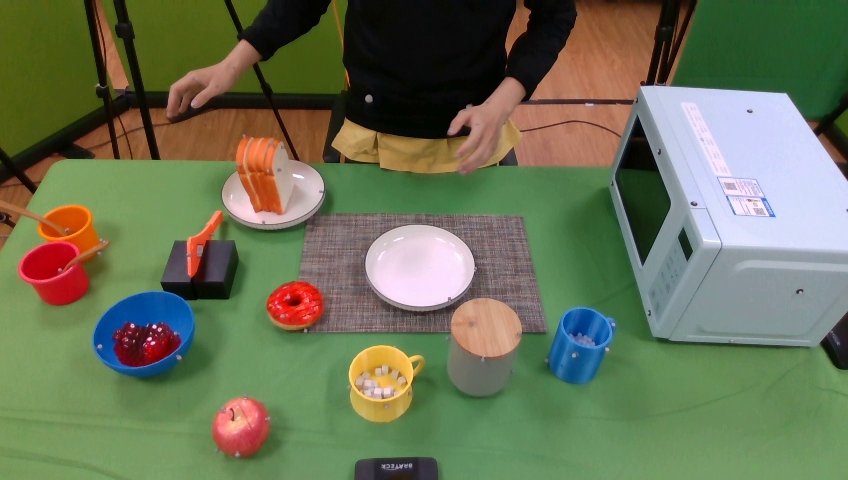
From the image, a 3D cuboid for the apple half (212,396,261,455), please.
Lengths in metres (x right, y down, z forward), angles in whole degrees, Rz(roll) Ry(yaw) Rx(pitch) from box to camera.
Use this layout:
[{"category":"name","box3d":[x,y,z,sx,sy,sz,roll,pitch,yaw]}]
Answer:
[{"category":"apple half","box3d":[-0.276,0.276,0.877,0.053,0.075,0.080,-29,58,-21]}]

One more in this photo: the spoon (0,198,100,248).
[{"category":"spoon","box3d":[-0.684,-0.035,1.092,0.021,0.195,0.041,-32,42,28]}]

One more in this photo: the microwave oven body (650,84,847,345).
[{"category":"microwave oven body","box3d":[0.569,-0.054,1.116,0.326,0.261,0.439,2,46,-1]}]

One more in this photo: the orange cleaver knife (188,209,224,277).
[{"category":"orange cleaver knife","box3d":[-0.402,0.000,1.123,0.012,0.077,0.210,1,22,-3]}]

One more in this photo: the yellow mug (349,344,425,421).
[{"category":"yellow mug","box3d":[-0.054,0.217,0.954,0.131,0.064,0.099,-24,52,-25]}]

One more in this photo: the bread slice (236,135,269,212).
[{"category":"bread slice","box3d":[-0.341,-0.142,1.218,0.018,0.135,0.106,-3,45,7]}]

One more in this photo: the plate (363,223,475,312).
[{"category":"plate","box3d":[-0.009,0.054,1.126,0.208,0.039,0.206,2,46,-2]}]

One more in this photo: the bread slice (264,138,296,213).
[{"category":"bread slice","box3d":[-0.287,-0.134,1.214,0.019,0.132,0.104,1,45,7]}]

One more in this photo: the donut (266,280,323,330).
[{"category":"donut","box3d":[-0.223,0.112,1.051,0.099,0.048,0.098,2,46,-1]}]

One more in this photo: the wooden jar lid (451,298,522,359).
[{"category":"wooden jar lid","box3d":[0.093,0.135,0.914,0.108,0.021,0.107,3,48,-3]}]

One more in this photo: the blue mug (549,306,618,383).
[{"category":"blue mug","box3d":[0.269,0.166,0.997,0.116,0.106,0.082,-19,51,-21]}]

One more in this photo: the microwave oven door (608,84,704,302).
[{"category":"microwave oven door","box3d":[0.424,-0.096,1.138,0.039,0.245,0.353,2,47,-1]}]

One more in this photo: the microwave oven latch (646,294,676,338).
[{"category":"microwave oven latch","box3d":[0.412,0.133,1.060,0.030,0.029,0.078,3,46,0]}]

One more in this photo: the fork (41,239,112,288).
[{"category":"fork","box3d":[-0.591,0.040,1.028,0.207,0.019,0.028,-27,36,29]}]

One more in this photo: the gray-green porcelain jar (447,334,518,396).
[{"category":"gray-green porcelain jar","box3d":[0.091,0.178,0.960,0.106,0.127,0.105,2,46,-2]}]

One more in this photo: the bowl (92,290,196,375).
[{"category":"bowl","box3d":[-0.436,0.161,0.971,0.151,0.077,0.150,2,46,-2]}]

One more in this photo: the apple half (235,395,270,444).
[{"category":"apple half","box3d":[-0.245,0.260,0.893,0.033,0.082,0.081,-29,55,-22]}]

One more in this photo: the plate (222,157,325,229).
[{"category":"plate","box3d":[-0.307,-0.094,1.251,0.209,0.038,0.208,2,46,-2]}]
